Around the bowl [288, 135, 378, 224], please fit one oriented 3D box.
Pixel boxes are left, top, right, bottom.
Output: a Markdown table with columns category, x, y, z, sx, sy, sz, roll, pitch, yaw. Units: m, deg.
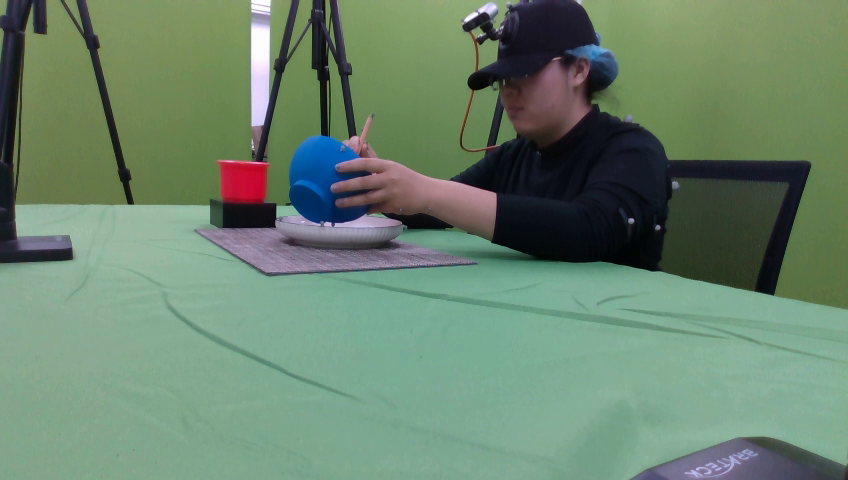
| category | x | y | z | sx | sy | sz | roll | pitch | yaw |
| --- | --- | --- | --- | --- | --- | --- | --- | --- | --- |
| bowl | -0.155 | -0.077 | 0.929 | 0.150 | 0.152 | 0.077 | 7 | 43 | 33 |

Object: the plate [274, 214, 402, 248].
| category | x | y | z | sx | sy | sz | roll | pitch | yaw |
| --- | --- | --- | --- | --- | --- | --- | --- | --- | --- |
| plate | -0.141 | -0.015 | 0.993 | 0.208 | 0.039 | 0.207 | 3 | 7 | 0 |

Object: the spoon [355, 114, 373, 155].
| category | x | y | z | sx | sy | sz | roll | pitch | yaw |
| --- | --- | --- | --- | --- | --- | --- | --- | --- | --- |
| spoon | -0.121 | -0.139 | 1.013 | 0.021 | 0.194 | 0.041 | 27 | -30 | -4 |
